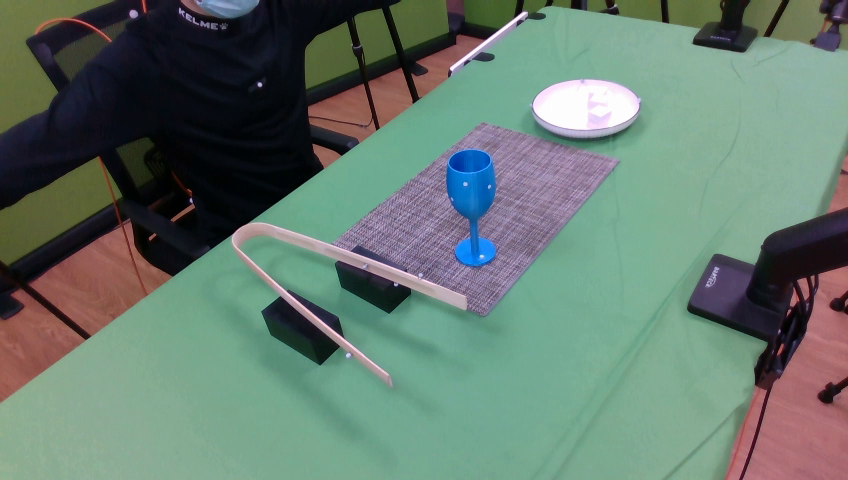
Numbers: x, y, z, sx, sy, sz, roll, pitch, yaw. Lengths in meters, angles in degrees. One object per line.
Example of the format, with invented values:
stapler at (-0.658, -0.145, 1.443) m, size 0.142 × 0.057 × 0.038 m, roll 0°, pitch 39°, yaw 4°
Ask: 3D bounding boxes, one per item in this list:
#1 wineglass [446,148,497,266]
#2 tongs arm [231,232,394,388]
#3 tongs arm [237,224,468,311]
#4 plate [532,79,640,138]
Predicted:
wineglass at (0.072, -0.046, 0.889) m, size 0.074 × 0.173 × 0.073 m, roll -4°, pitch 41°, yaw 4°
tongs arm at (-0.166, 0.084, 0.817) m, size 0.028 × 0.028 × 0.384 m, roll -39°, pitch 49°, yaw -24°
tongs arm at (-0.115, 0.039, 0.862) m, size 0.382 × 0.026 × 0.051 m, roll 20°, pitch 49°, yaw 28°
plate at (0.322, -0.259, 1.212) m, size 0.209 × 0.038 × 0.208 m, roll -4°, pitch 40°, yaw 4°
